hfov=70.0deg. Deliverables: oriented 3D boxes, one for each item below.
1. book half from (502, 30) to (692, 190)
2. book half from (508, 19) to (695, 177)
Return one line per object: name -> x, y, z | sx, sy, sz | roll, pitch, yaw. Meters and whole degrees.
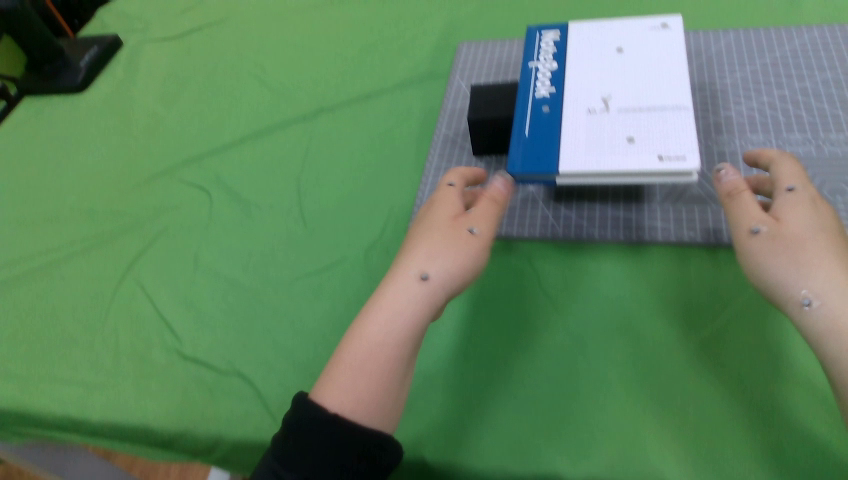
book half -> 0.154, -0.127, 0.544 | 0.148, 0.016, 0.208 | 1, 52, 15
book half -> 0.156, -0.131, 0.538 | 0.143, 0.007, 0.208 | 1, 52, 14
